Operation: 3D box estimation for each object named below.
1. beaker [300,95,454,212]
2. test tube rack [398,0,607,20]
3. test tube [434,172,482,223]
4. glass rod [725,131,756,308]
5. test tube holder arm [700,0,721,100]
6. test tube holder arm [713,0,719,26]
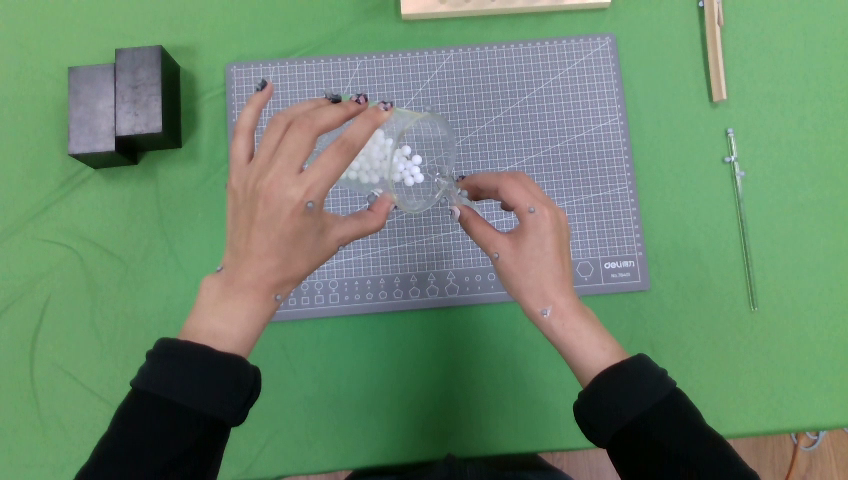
[{"bbox_3d":[-0.037,-0.069,0.464,0.099,0.085,0.074,21,87,35],"label":"beaker"},{"bbox_3d":[0.089,-0.305,0.676,0.242,0.085,0.066,-4,80,0],"label":"test tube rack"},{"bbox_3d":[0.033,-0.034,0.542,0.017,0.151,0.017,-2,81,14],"label":"test tube"},{"bbox_3d":[0.348,-0.025,0.668,0.008,0.008,0.199,-3,80,-1],"label":"glass rod"},{"bbox_3d":[0.329,-0.247,0.697,0.013,0.015,0.177,6,80,-29],"label":"test tube holder arm"},{"bbox_3d":[0.335,-0.291,0.707,0.010,0.015,0.087,7,79,-28],"label":"test tube holder arm"}]
